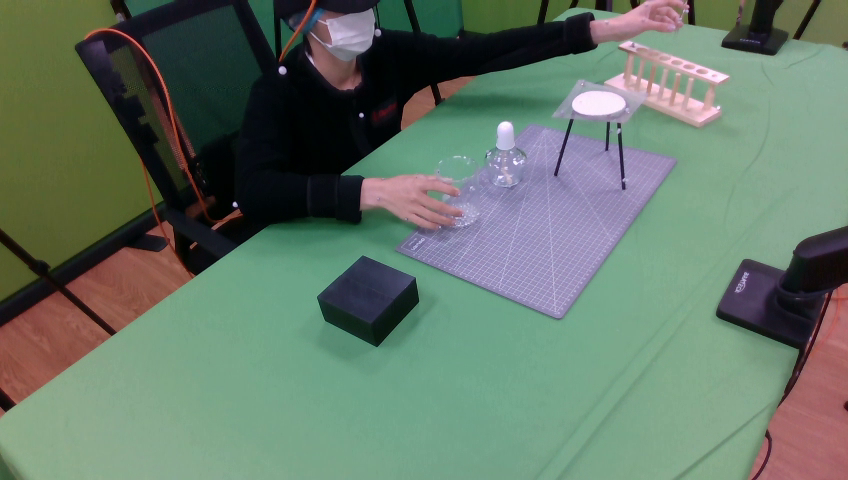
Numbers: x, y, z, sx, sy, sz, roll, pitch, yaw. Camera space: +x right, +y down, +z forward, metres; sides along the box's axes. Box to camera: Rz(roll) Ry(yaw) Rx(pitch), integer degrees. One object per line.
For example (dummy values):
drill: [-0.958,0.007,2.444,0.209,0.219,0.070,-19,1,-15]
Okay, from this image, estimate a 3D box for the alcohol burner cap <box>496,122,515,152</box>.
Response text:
alcohol burner cap: [0.139,-0.179,1.037,0.034,0.048,0.033,-4,43,4]

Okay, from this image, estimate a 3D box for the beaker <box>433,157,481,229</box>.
beaker: [0.058,-0.077,0.995,0.073,0.101,0.084,19,46,29]

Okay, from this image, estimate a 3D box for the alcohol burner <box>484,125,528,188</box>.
alcohol burner: [0.144,-0.152,1.059,0.078,0.119,0.077,-3,41,3]

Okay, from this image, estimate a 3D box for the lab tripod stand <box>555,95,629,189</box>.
lab tripod stand: [0.301,-0.174,1.045,0.148,0.132,0.147,-5,38,5]

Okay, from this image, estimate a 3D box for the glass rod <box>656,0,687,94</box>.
glass rod: [0.491,-0.380,1.198,0.008,0.200,0.008,1,40,0]

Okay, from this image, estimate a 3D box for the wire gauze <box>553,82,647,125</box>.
wire gauze: [0.293,-0.225,1.002,0.120,0.011,0.125,17,45,27]

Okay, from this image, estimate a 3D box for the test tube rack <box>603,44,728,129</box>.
test tube rack: [0.480,-0.316,1.226,0.067,0.085,0.240,-28,44,-22]
